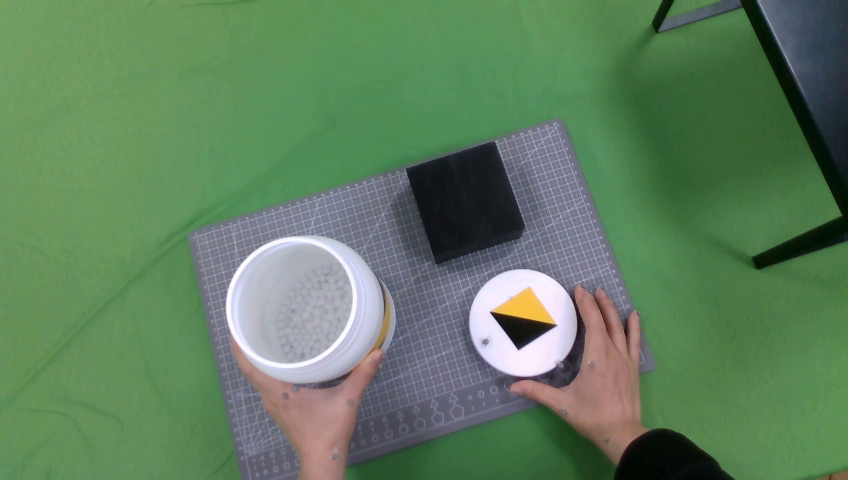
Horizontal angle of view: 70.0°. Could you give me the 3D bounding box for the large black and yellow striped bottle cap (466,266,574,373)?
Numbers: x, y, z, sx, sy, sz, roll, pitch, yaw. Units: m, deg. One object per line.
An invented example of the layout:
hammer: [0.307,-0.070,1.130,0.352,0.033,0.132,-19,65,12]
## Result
large black and yellow striped bottle cap: [0.102,0.084,0.647,0.115,0.019,0.114,0,77,2]

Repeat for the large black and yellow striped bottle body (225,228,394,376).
large black and yellow striped bottle body: [-0.103,0.063,0.576,0.131,0.185,0.130,-1,78,3]
